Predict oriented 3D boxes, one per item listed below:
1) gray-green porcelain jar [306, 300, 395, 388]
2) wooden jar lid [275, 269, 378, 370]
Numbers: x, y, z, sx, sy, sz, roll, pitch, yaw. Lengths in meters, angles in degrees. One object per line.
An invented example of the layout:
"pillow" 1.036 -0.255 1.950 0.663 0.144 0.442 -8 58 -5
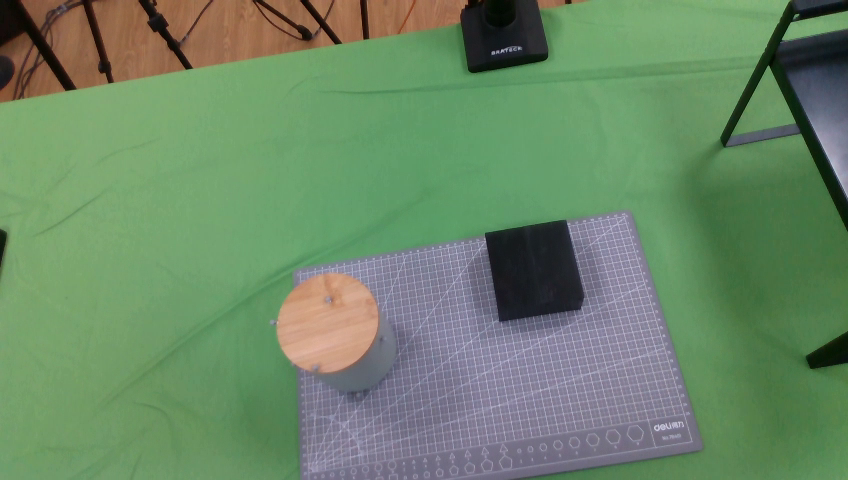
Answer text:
"gray-green porcelain jar" -0.092 0.111 0.696 0.106 0.127 0.105 -3 66 7
"wooden jar lid" -0.101 0.084 0.640 0.108 0.021 0.107 -2 69 6
